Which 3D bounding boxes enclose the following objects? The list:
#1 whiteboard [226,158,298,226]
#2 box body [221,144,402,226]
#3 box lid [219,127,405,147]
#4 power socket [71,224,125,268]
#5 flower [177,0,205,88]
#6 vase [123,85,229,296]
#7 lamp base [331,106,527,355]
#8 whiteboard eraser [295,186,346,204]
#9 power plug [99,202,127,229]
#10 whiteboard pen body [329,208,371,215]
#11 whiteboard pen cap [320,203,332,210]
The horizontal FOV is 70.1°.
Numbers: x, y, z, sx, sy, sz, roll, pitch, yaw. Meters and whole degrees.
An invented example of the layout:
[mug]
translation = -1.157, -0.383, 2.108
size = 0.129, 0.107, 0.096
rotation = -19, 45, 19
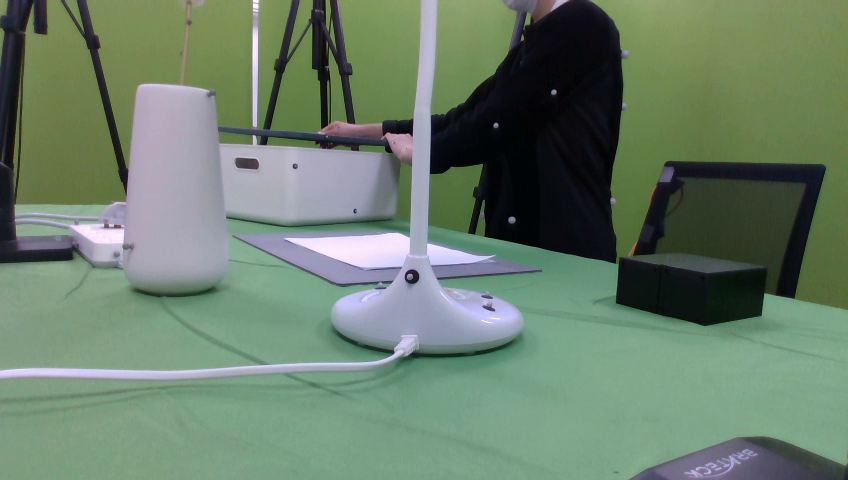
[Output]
[whiteboard]
translation = -0.265, -0.116, 1.372
size = 0.216, 0.143, 0.307
rotation = 4, 7, 35
[box body]
translation = -0.254, -0.128, 1.379
size = 0.253, 0.160, 0.366
rotation = 8, 9, 36
[box lid]
translation = -0.247, -0.229, 1.360
size = 0.262, 0.015, 0.373
rotation = 9, 9, 35
[power socket]
translation = -0.409, 0.004, 0.793
size = 0.072, 0.032, 0.225
rotation = -2, 8, -37
[flower]
translation = -0.243, -0.131, 0.609
size = 0.044, 0.361, 0.038
rotation = -5, -12, 11
[vase]
translation = -0.244, -0.047, 0.598
size = 0.098, 0.200, 0.098
rotation = 3, 8, 0
[lamp base]
translation = 0.006, -0.012, 0.478
size = 0.161, 0.180, 0.179
rotation = 2, 10, 2
[whiteboard eraser]
translation = -0.243, -0.107, 1.425
size = 0.112, 0.042, 0.056
rotation = 5, 12, 26
[power plug]
translation = -0.415, -0.026, 0.848
size = 0.073, 0.052, 0.035
rotation = 6, 5, -27
[whiteboard pen body]
translation = -0.189, -0.071, 1.523
size = 0.140, 0.017, 0.017
rotation = 2, 6, 37
[whiteboard pen cap]
translation = -0.247, -0.083, 1.531
size = 0.033, 0.018, 0.018
rotation = 9, 10, 39
